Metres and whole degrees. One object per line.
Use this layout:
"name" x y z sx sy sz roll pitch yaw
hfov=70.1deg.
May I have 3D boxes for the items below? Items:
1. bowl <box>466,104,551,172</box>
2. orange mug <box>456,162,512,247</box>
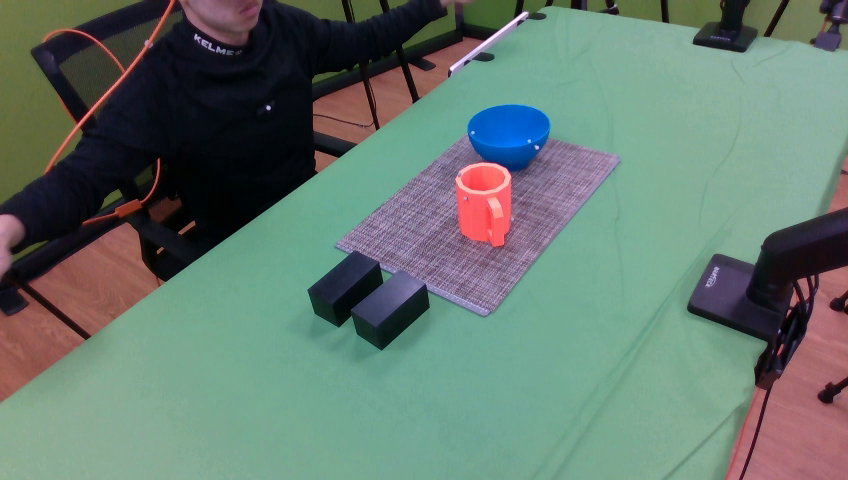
"bowl" 0.155 -0.177 1.105 0.151 0.077 0.150 -4 40 4
"orange mug" 0.100 -0.050 0.949 0.083 0.101 0.125 -13 37 -6
